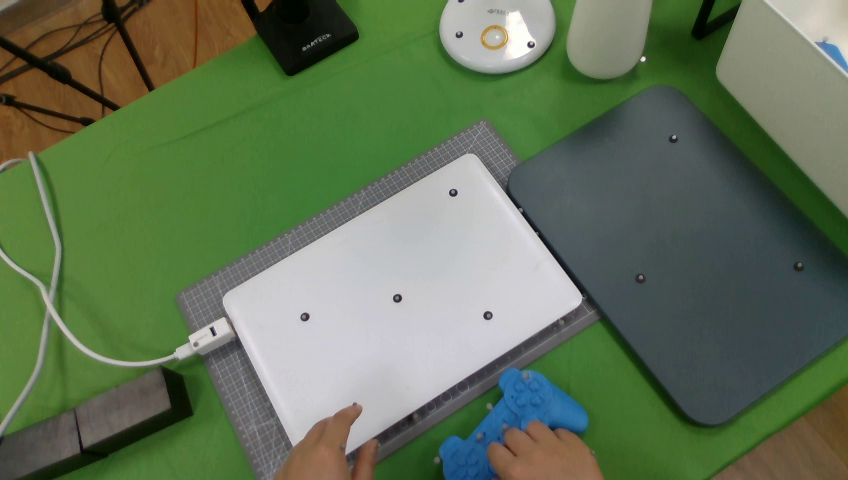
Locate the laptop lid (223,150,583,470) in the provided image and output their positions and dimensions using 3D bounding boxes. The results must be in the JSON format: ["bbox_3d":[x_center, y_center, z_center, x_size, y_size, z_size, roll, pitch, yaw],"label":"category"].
[{"bbox_3d":[-0.028,0.065,0.688,0.357,0.013,0.240,-30,70,-6],"label":"laptop lid"}]

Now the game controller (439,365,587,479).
[{"bbox_3d":[0.087,0.200,0.617,0.096,0.052,0.155,39,76,24],"label":"game controller"}]

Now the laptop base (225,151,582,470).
[{"bbox_3d":[-0.028,0.067,0.699,0.354,0.023,0.234,-31,71,-7],"label":"laptop base"}]

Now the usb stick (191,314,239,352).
[{"bbox_3d":[-0.232,0.103,0.692,0.059,0.027,0.021,-27,67,-11],"label":"usb stick"}]

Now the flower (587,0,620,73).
[{"bbox_3d":[0.233,-0.330,0.650,0.038,0.364,0.043,-15,56,-18],"label":"flower"}]

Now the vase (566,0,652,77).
[{"bbox_3d":[0.225,-0.287,0.722,0.098,0.201,0.097,-3,66,7],"label":"vase"}]

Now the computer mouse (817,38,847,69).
[{"bbox_3d":[0.483,-0.203,0.741,0.062,0.041,0.116,3,64,11],"label":"computer mouse"}]

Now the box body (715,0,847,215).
[{"bbox_3d":[0.540,-0.171,0.660,0.254,0.161,0.361,-29,67,-6],"label":"box body"}]

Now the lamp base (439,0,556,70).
[{"bbox_3d":[0.093,-0.343,0.770,0.160,0.182,0.178,0,65,6],"label":"lamp base"}]

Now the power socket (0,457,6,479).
[{"bbox_3d":[-0.533,0.211,0.685,0.072,0.033,0.225,-29,67,-7],"label":"power socket"}]

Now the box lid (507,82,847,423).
[{"bbox_3d":[0.295,-0.009,0.700,0.263,0.015,0.368,-31,68,-8],"label":"box lid"}]
